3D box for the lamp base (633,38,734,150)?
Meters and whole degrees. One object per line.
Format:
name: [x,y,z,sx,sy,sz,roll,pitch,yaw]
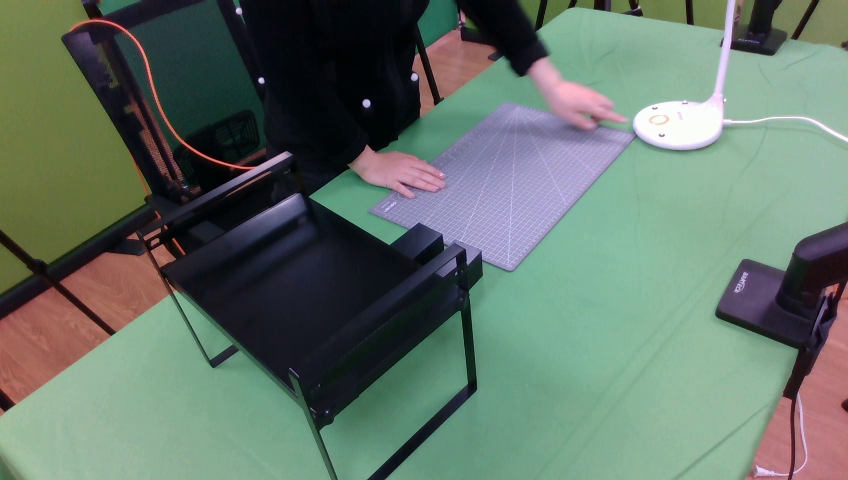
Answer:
lamp base: [0.487,-0.280,1.108,0.179,0.181,0.159,-5,41,-1]
